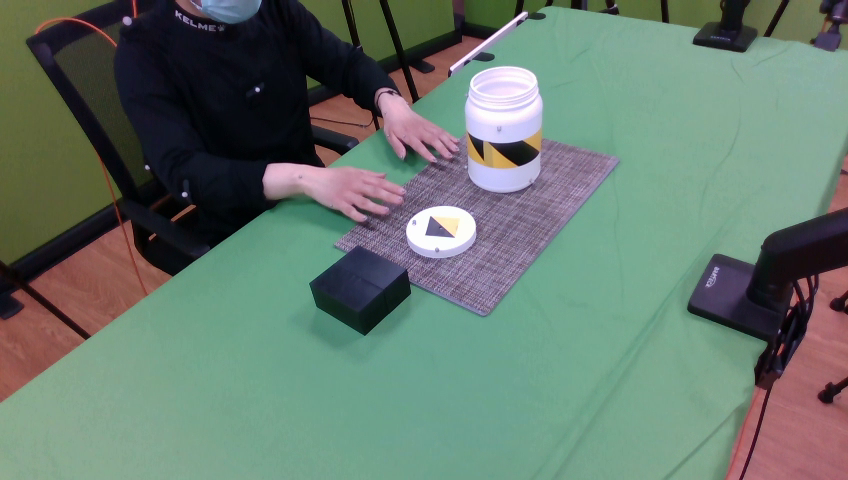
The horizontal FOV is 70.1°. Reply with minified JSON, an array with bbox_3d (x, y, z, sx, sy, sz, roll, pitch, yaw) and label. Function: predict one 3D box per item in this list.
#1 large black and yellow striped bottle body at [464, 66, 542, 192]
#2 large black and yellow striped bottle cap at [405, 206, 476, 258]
[{"bbox_3d":[0.137,-0.190,1.040,0.131,0.185,0.130,-4,41,4],"label":"large black and yellow striped bottle body"},{"bbox_3d":[0.027,-0.015,0.981,0.115,0.019,0.114,-3,40,3],"label":"large black and yellow striped bottle cap"}]
